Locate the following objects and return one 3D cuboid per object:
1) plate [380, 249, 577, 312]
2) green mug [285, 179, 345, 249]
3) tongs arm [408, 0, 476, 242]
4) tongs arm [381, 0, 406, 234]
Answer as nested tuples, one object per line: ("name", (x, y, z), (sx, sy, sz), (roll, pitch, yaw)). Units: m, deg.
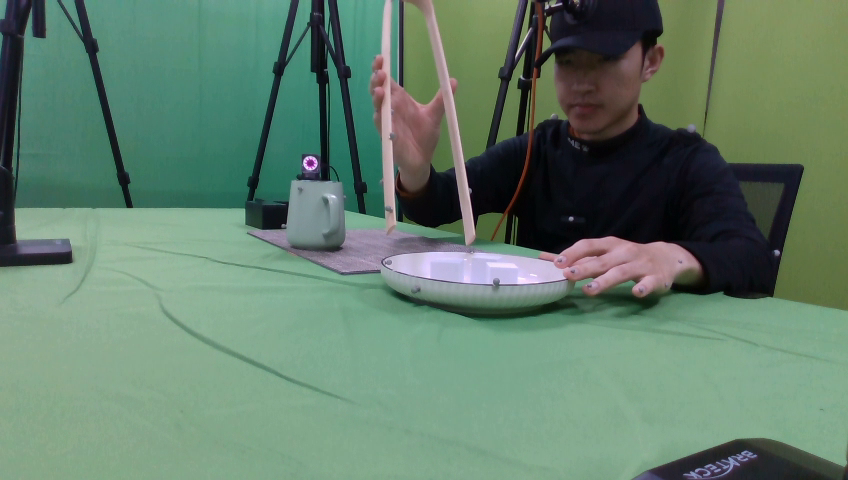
("plate", (0.056, 0.042, 0.646), (0.209, 0.038, 0.209), (2, 7, 0))
("green mug", (-0.161, -0.040, 0.936), (0.093, 0.105, 0.124), (-2, 8, -32))
("tongs arm", (0.021, -0.171, 0.752), (0.028, 0.386, 0.028), (-1, -28, -17))
("tongs arm", (-0.028, -0.176, 0.734), (0.051, 0.383, 0.026), (5, -30, -17))
